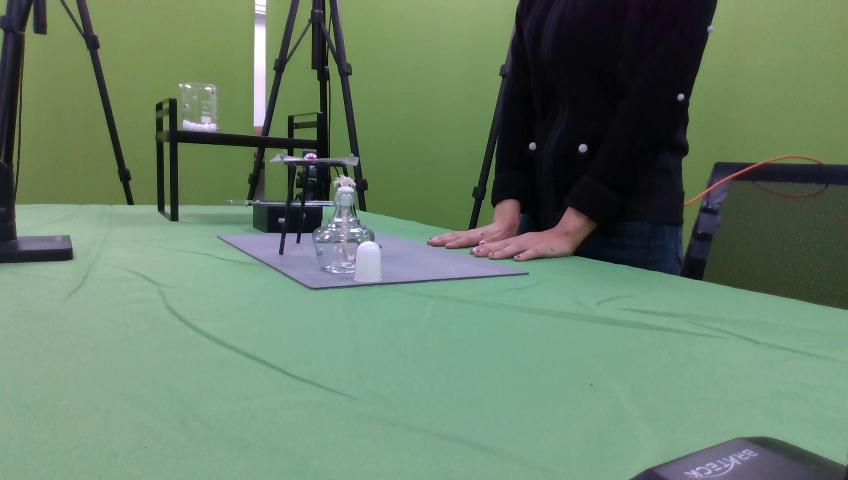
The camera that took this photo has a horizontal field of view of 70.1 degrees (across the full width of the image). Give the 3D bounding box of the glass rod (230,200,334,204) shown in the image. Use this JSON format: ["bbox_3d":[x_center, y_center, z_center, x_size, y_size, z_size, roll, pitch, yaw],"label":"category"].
[{"bbox_3d":[-0.267,-0.072,1.155,0.201,0.008,0.008,-1,8,-28],"label":"glass rod"}]

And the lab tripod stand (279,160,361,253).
[{"bbox_3d":[-0.166,-0.052,0.897,0.148,0.131,0.148,0,7,0],"label":"lab tripod stand"}]

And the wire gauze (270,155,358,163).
[{"bbox_3d":[-0.159,-0.118,0.886,0.122,0.011,0.125,1,7,-9],"label":"wire gauze"}]

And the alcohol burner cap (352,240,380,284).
[{"bbox_3d":[-0.065,0.023,0.690,0.034,0.048,0.034,3,10,0],"label":"alcohol burner cap"}]

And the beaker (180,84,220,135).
[{"bbox_3d":[-0.475,-0.275,1.281,0.073,0.100,0.084,7,9,36],"label":"beaker"}]

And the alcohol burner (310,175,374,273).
[{"bbox_3d":[-0.100,-0.020,0.741,0.078,0.119,0.078,1,6,0],"label":"alcohol burner"}]
